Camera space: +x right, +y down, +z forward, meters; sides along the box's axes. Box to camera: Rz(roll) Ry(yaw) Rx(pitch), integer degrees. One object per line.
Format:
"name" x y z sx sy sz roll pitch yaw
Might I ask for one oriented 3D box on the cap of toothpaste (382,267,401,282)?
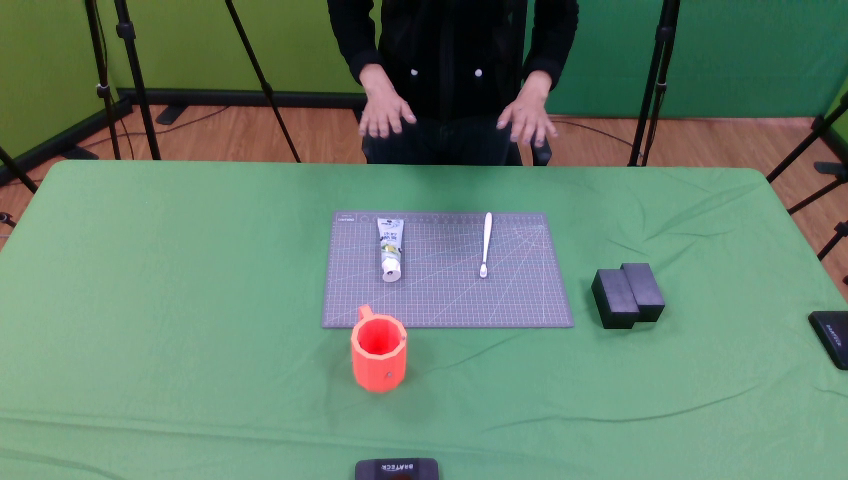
"cap of toothpaste" -0.060 0.063 1.119 0.037 0.037 0.011 -9 50 -12

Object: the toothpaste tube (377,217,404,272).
"toothpaste tube" -0.063 0.008 1.179 0.055 0.034 0.164 5 42 -9

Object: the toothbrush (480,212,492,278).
"toothbrush" 0.124 0.004 1.203 0.014 0.017 0.181 -2 43 14

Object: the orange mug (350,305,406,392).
"orange mug" -0.080 0.168 0.978 0.083 0.101 0.125 -16 54 -18
